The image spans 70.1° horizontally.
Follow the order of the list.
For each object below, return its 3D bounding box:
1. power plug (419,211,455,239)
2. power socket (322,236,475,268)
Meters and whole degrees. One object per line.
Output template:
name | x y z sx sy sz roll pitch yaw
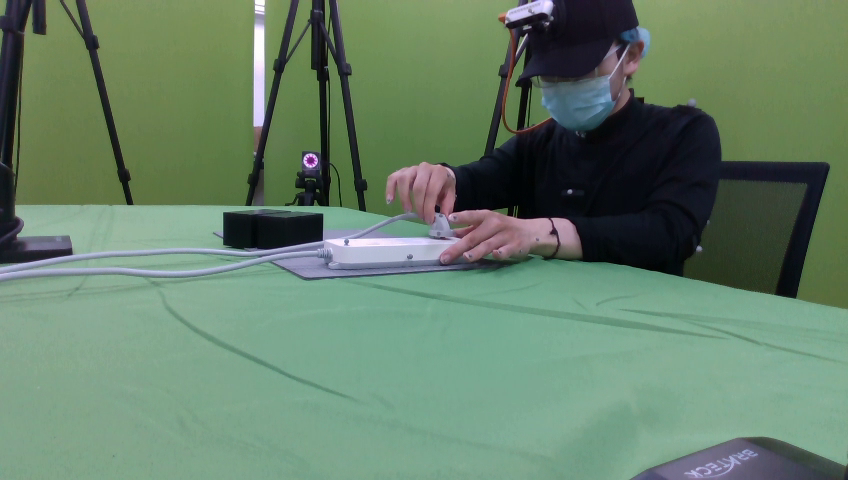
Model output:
power plug | 0.019 -0.016 0.884 0.035 0.052 0.072 0 8 -19
power socket | -0.031 0.014 0.822 0.228 0.032 0.072 -2 8 -31
